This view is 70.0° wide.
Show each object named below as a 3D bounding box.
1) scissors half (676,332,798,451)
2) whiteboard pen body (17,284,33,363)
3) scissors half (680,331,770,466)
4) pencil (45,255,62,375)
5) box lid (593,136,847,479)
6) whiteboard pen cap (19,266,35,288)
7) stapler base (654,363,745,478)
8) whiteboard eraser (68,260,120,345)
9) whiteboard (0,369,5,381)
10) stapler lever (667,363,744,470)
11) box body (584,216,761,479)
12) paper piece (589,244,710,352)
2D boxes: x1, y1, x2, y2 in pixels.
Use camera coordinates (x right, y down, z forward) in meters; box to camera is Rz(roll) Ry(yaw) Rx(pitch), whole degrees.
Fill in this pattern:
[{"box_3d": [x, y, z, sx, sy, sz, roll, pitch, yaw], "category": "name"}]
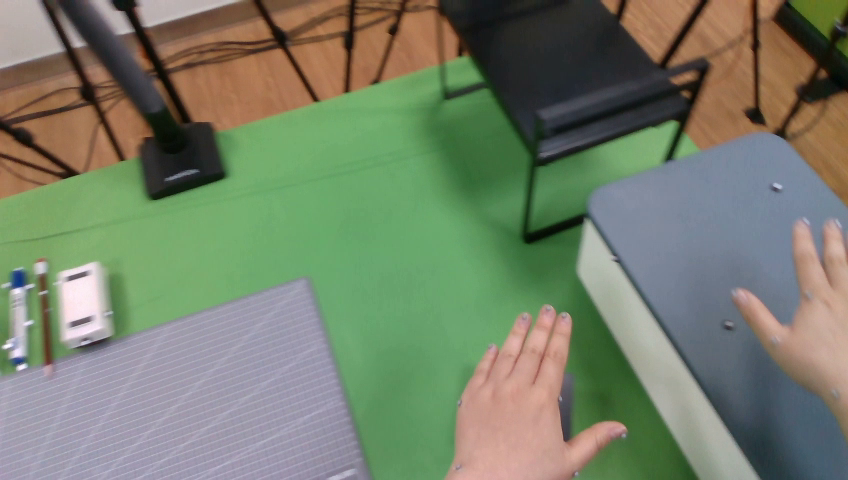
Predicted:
[{"box_3d": [0.364, 0.173, 0.715, 0.040, 0.013, 0.173, -27, 55, -21], "category": "scissors half"}, {"box_3d": [-0.535, 0.101, 0.813, 0.017, 0.017, 0.139, -18, 58, -7], "category": "whiteboard pen body"}, {"box_3d": [0.344, 0.179, 0.711, 0.040, 0.013, 0.173, -12, 51, -3], "category": "scissors half"}, {"box_3d": [-0.499, 0.098, 0.817, 0.012, 0.012, 0.192, -21, 59, -9], "category": "pencil"}, {"box_3d": [0.366, 0.050, 0.619, 0.263, 0.015, 0.367, -18, 58, -9], "category": "box lid"}, {"box_3d": [-0.552, 0.054, 0.842, 0.018, 0.018, 0.033, -19, 57, -9], "category": "whiteboard pen cap"}, {"box_3d": [0.314, 0.201, 0.691, 0.041, 0.024, 0.129, -25, 65, 0], "category": "stapler base"}, {"box_3d": [-0.438, 0.083, 0.805, 0.055, 0.042, 0.111, -19, 59, -7], "category": "whiteboard eraser"}, {"box_3d": [-0.679, 0.056, 0.715, 0.217, 0.308, 0.142, -19, 39, -8], "category": "whiteboard"}, {"box_3d": [0.311, 0.192, 0.669, 0.027, 0.040, 0.117, -26, 63, 0], "category": "stapler lever"}, {"box_3d": [0.371, 0.091, 0.680, 0.254, 0.162, 0.360, -19, 59, -8], "category": "box body"}, {"box_3d": [0.297, 0.073, 0.798, 0.136, 0.009, 0.137, -6, 70, -9], "category": "paper piece"}]
